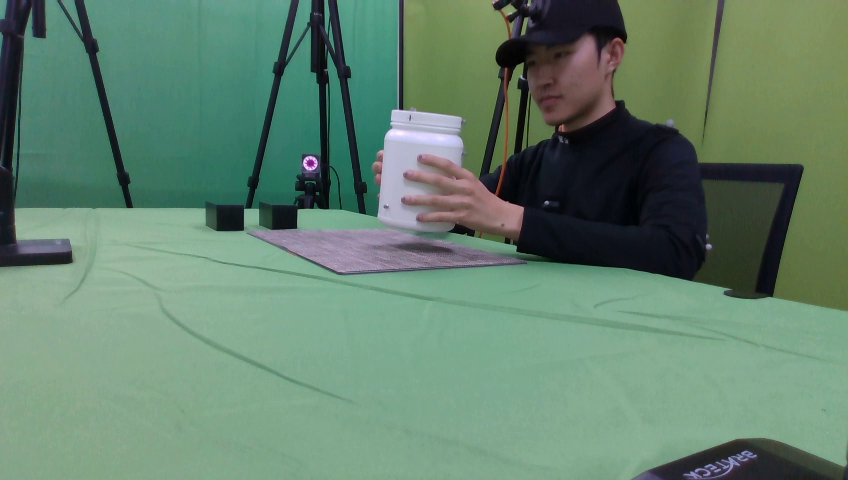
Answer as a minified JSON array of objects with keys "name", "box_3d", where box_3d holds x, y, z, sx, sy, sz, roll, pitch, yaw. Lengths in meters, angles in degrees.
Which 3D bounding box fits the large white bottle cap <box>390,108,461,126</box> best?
[{"name":"large white bottle cap","box_3d":[0.003,-0.198,0.975,0.115,0.018,0.115,6,10,-1]}]

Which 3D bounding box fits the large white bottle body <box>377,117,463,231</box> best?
[{"name":"large white bottle body","box_3d":[-0.005,-0.115,0.990,0.131,0.184,0.130,5,11,-1]}]
